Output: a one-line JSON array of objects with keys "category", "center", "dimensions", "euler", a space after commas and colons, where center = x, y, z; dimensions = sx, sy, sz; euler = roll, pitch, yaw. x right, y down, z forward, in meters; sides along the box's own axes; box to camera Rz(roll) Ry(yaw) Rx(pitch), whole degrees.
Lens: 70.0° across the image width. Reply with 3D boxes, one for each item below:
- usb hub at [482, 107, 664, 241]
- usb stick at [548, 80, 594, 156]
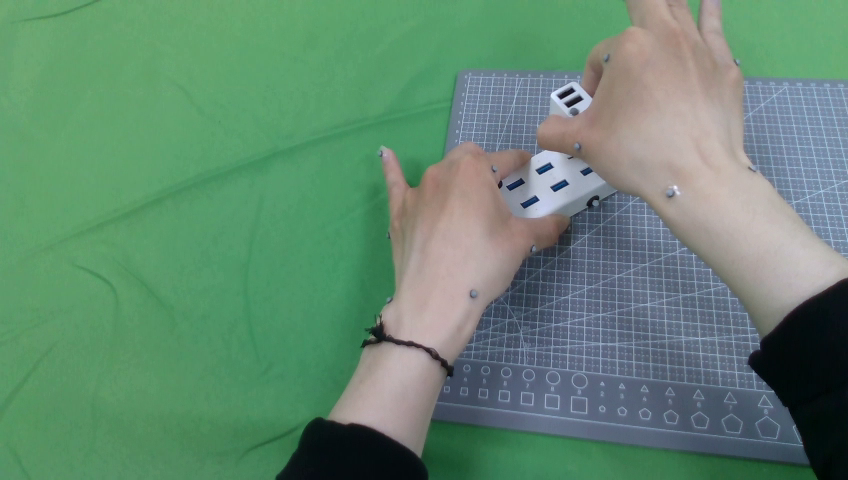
[{"category": "usb hub", "center": [0.107, -0.050, 0.437], "dimensions": [0.125, 0.025, 0.049], "euler": [-29, 53, -10]}, {"category": "usb stick", "center": [0.101, -0.079, 0.419], "dimensions": [0.021, 0.060, 0.027], "euler": [-31, 58, -7]}]
